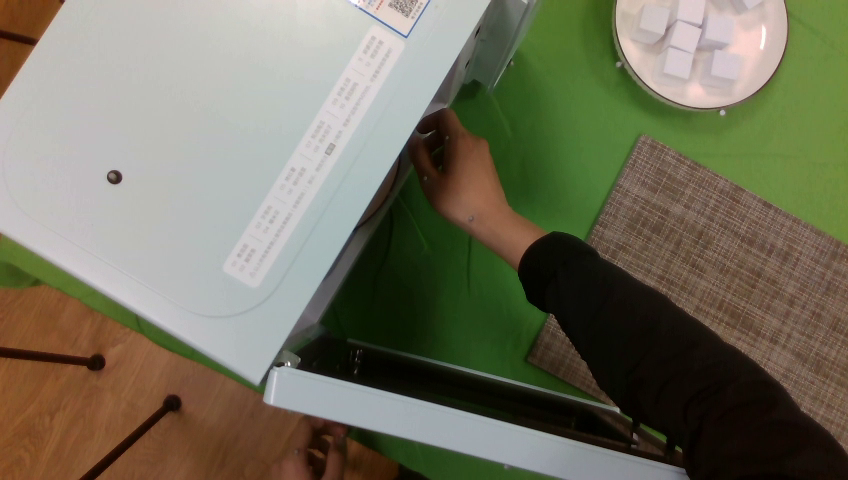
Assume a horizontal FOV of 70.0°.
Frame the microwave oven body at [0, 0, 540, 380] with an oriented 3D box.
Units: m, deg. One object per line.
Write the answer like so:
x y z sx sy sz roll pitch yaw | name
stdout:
-0.130 -0.147 0.571 0.326 0.260 0.441 31 87 -2 | microwave oven body

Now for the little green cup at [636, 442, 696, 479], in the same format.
0.272 0.261 0.691 0.061 0.038 0.061 0 85 -3 | little green cup

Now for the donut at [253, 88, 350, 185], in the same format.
-0.123 -0.104 0.612 0.099 0.048 0.099 0 89 3 | donut

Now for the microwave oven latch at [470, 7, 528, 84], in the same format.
0.084 -0.217 0.681 0.030 0.029 0.079 35 87 -1 | microwave oven latch

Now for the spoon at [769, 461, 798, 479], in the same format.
0.427 0.349 0.701 0.042 0.021 0.193 -8 90 -18 | spoon

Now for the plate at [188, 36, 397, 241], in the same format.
-0.131 -0.101 0.621 0.209 0.038 0.208 0 87 -3 | plate

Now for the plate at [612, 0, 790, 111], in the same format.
0.320 -0.251 0.714 0.208 0.039 0.207 0 88 -3 | plate

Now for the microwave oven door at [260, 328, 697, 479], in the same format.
0.048 0.153 0.564 0.356 0.244 0.039 15 86 -2 | microwave oven door
